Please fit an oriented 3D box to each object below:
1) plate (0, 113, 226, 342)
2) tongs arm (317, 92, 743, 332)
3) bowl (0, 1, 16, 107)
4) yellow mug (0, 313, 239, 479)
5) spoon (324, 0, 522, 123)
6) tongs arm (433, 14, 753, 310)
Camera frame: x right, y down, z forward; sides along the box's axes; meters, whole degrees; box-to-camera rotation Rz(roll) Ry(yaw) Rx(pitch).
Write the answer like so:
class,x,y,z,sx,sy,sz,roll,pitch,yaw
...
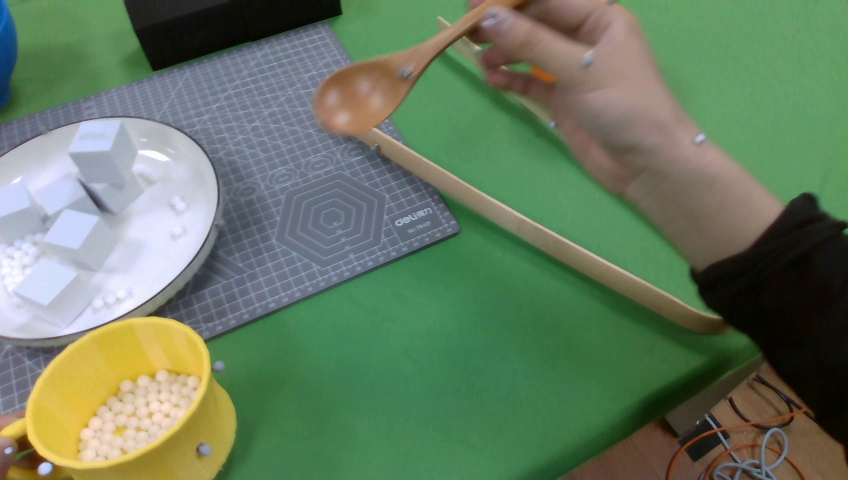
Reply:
class,x,y,z,sx,sy,sz,roll,pitch,yaw
plate,-0.257,-0.012,0.475,0.208,0.039,0.205,0,57,1
tongs arm,0.062,-0.031,0.491,0.385,0.028,0.028,31,58,17
bowl,-0.438,-0.157,0.549,0.151,0.077,0.150,0,57,1
yellow mug,-0.184,0.107,0.360,0.131,0.064,0.099,-20,47,-18
spoon,0.029,-0.120,0.332,0.193,0.022,0.041,-28,76,15
tongs arm,0.120,-0.080,0.521,0.051,0.027,0.381,-36,65,-22
